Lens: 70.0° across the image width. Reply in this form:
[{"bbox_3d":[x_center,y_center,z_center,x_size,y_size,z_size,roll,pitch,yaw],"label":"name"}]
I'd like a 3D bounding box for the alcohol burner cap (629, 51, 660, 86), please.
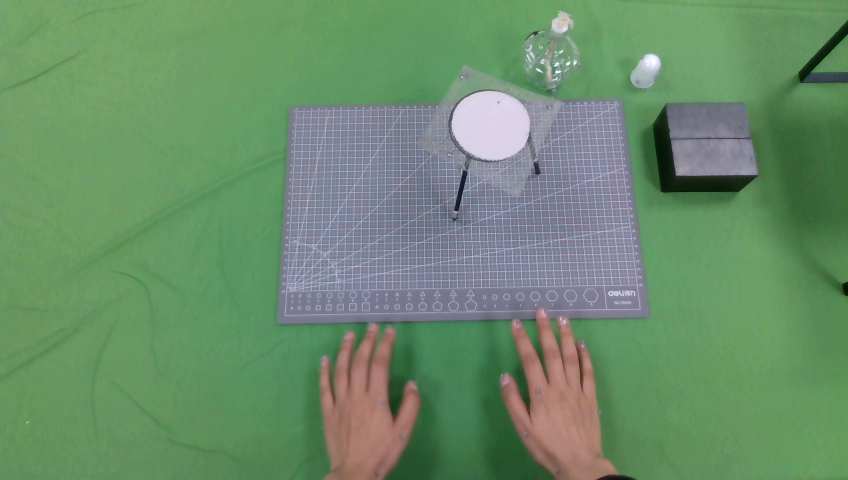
[{"bbox_3d":[0.297,-0.232,0.811,0.034,0.048,0.033,-1,72,2],"label":"alcohol burner cap"}]

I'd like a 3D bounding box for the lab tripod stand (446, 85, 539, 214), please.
[{"bbox_3d":[0.075,-0.113,0.725,0.148,0.132,0.147,0,71,0],"label":"lab tripod stand"}]

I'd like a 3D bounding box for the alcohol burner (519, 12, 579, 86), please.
[{"bbox_3d":[0.165,-0.253,0.781,0.078,0.120,0.077,0,72,0],"label":"alcohol burner"}]

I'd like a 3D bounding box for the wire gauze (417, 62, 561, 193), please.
[{"bbox_3d":[0.072,-0.128,0.660,0.125,0.011,0.121,27,74,8],"label":"wire gauze"}]
